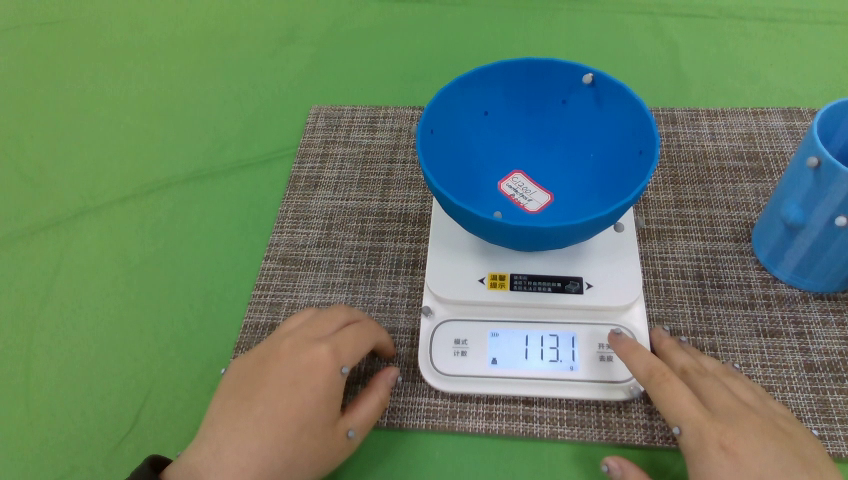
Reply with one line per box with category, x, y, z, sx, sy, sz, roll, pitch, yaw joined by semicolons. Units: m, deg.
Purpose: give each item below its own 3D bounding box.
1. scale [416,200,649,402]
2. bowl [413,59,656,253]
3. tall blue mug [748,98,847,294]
scale;0.075;0.013;0.431;0.148;0.032;0.199;1;54;7
bowl;0.070;-0.043;0.407;0.151;0.077;0.150;-2;54;3
tall blue mug;0.279;-0.017;0.385;0.106;0.109;0.077;36;64;28
